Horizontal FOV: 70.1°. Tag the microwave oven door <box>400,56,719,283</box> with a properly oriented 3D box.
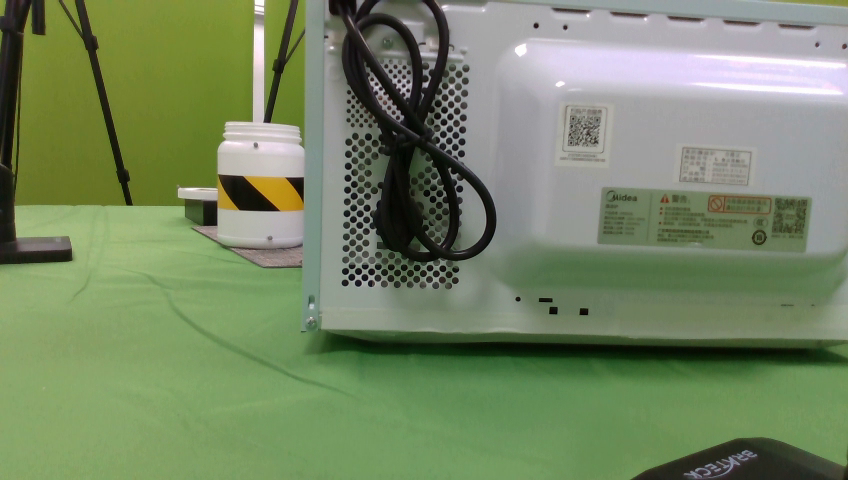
[{"bbox_3d":[0.155,-0.077,0.698,0.356,0.243,0.039,2,8,-5],"label":"microwave oven door"}]

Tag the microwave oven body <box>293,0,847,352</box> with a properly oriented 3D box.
[{"bbox_3d":[0.122,-0.055,0.550,0.442,0.260,0.325,3,7,-5],"label":"microwave oven body"}]

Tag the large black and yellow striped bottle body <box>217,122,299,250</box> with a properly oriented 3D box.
[{"bbox_3d":[-0.250,-0.084,0.931,0.131,0.184,0.130,2,7,0],"label":"large black and yellow striped bottle body"}]

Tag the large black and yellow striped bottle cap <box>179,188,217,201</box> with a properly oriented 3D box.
[{"bbox_3d":[-0.434,-0.093,1.226,0.115,0.019,0.115,3,9,0],"label":"large black and yellow striped bottle cap"}]

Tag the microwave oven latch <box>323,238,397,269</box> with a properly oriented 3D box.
[{"bbox_3d":[-0.072,0.015,0.689,0.079,0.029,0.030,4,6,8],"label":"microwave oven latch"}]
